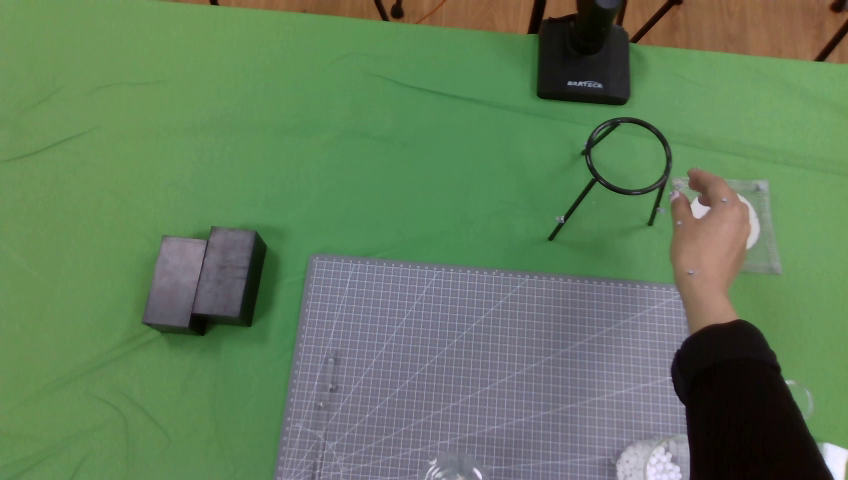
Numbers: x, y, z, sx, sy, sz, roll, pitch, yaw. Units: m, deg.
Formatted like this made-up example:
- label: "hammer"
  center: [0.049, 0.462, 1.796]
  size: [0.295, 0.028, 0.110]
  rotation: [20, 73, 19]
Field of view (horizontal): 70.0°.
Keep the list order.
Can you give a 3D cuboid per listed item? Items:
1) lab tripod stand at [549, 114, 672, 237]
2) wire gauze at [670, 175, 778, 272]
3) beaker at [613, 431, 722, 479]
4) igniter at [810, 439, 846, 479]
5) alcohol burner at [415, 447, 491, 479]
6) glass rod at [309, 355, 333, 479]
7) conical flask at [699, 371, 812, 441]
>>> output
- label: "lab tripod stand"
  center: [0.210, -0.067, 0.688]
  size: [0.148, 0.132, 0.147]
  rotation: [0, 73, -1]
- label: "wire gauze"
  center: [0.368, -0.024, 0.743]
  size: [0.125, 0.011, 0.120]
  rotation: [4, 71, -2]
- label: "beaker"
  center: [0.238, 0.229, 0.603]
  size: [0.084, 0.101, 0.073]
  rotation: [-18, 72, -7]
- label: "igniter"
  center: [0.394, 0.341, 0.609]
  size: [0.057, 0.025, 0.275]
  rotation: [21, 72, -5]
- label: "alcohol burner"
  center: [0.028, 0.241, 0.586]
  size: [0.078, 0.120, 0.077]
  rotation: [0, 70, 1]
- label: "glass rod"
  center: [-0.114, 0.223, 0.644]
  size: [0.008, 0.008, 0.198]
  rotation: [6, 74, 1]
- label: "conical flask"
  center: [0.341, 0.165, 0.618]
  size: [0.075, 0.122, 0.075]
  rotation: [0, 70, 0]
